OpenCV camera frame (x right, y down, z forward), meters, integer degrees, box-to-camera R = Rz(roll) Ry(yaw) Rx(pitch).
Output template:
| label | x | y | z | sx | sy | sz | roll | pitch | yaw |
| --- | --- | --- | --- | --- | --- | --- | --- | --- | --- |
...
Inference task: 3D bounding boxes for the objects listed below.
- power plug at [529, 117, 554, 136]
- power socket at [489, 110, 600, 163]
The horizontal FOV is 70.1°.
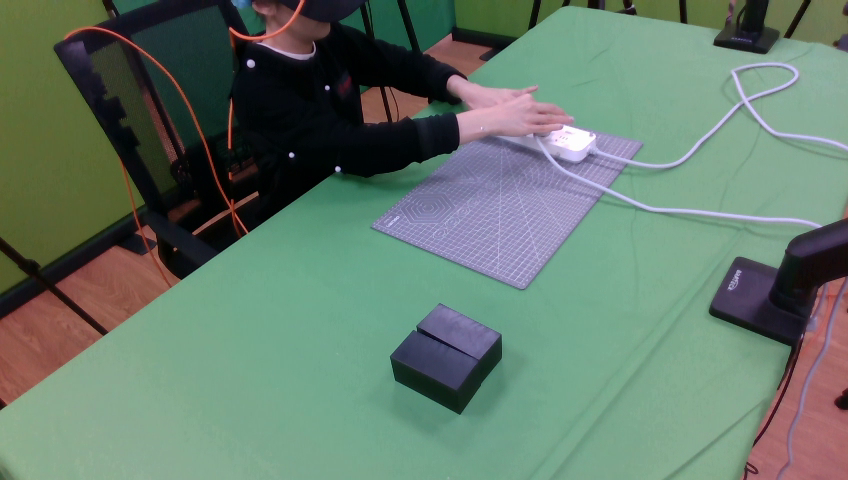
| label | x | y | z | sx | sy | sz | roll | pitch | yaw |
| --- | --- | --- | --- | --- | --- | --- | --- | --- | --- |
| power plug | 0.212 | -0.202 | 1.130 | 0.073 | 0.053 | 0.035 | -28 | 44 | -26 |
| power socket | 0.226 | -0.202 | 1.165 | 0.225 | 0.033 | 0.072 | 26 | 49 | 33 |
